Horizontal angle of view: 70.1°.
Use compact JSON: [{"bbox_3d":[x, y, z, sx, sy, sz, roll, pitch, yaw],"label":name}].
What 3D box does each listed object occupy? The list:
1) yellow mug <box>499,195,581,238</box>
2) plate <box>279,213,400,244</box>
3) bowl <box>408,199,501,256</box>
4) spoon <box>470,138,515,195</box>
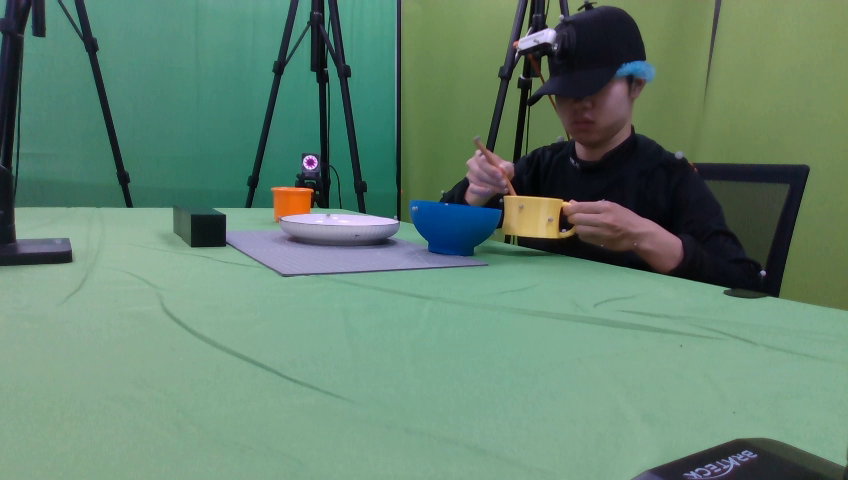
[{"bbox_3d":[0.194,-0.038,1.003,0.131,0.064,0.100,5,3,8],"label":"yellow mug"},{"bbox_3d":[-0.147,-0.020,1.060,0.209,0.038,0.209,3,7,0],"label":"plate"},{"bbox_3d":[0.045,-0.019,0.967,0.151,0.077,0.151,6,5,0],"label":"bowl"},{"bbox_3d":[0.135,-0.090,1.001,0.022,0.194,0.041,-34,4,-12],"label":"spoon"}]
